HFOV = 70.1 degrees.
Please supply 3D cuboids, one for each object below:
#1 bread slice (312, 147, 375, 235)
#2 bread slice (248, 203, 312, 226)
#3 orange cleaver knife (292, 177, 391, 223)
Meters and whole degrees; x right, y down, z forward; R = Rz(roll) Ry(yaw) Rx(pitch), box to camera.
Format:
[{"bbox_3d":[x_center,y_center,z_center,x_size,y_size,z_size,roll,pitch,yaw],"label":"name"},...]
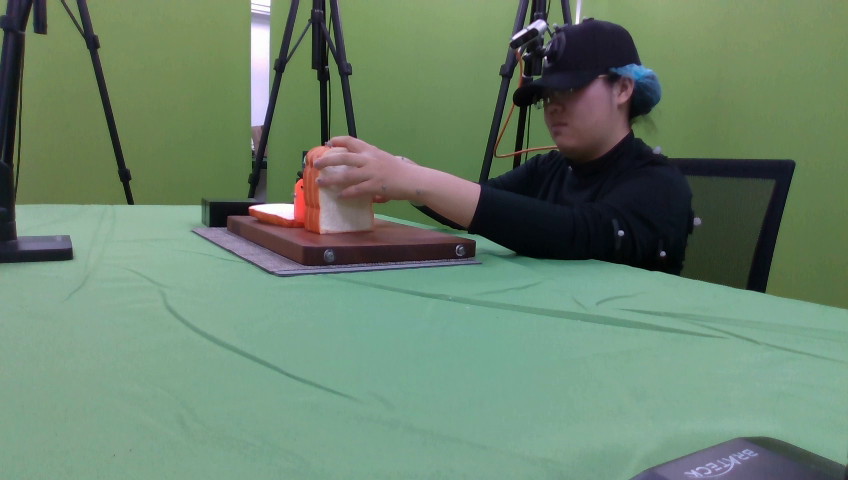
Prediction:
[{"bbox_3d":[-0.124,-0.074,0.919,0.107,0.134,0.018,-7,7,-41],"label":"bread slice"},{"bbox_3d":[-0.228,-0.043,1.022,0.131,0.019,0.105,14,14,38],"label":"bread slice"},{"bbox_3d":[-0.132,-0.070,1.006,0.012,0.077,0.212,-6,4,44],"label":"orange cleaver knife"}]
